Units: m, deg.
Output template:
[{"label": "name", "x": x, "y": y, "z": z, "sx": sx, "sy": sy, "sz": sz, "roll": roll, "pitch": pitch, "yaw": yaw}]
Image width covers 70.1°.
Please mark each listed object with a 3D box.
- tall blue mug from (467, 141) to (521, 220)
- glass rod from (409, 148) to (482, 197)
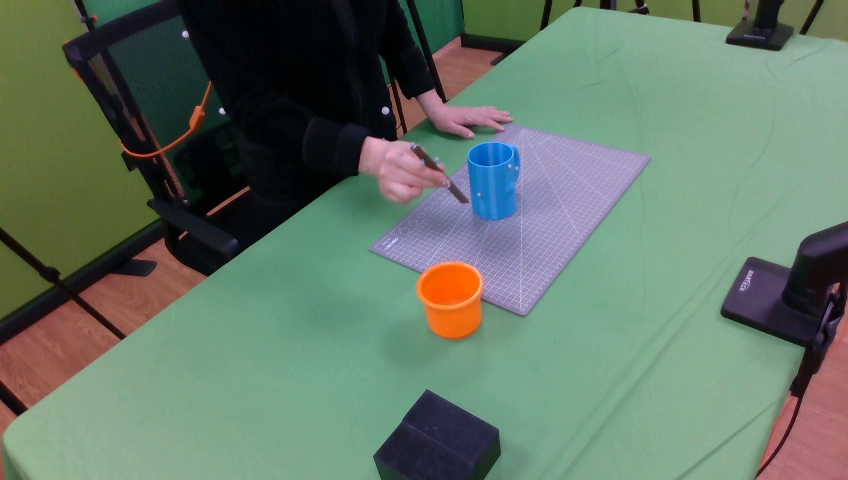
[{"label": "tall blue mug", "x": 0.119, "y": -0.109, "z": 1.020, "sx": 0.077, "sy": 0.108, "sz": 0.107, "roll": 2, "pitch": 41, "yaw": 15}, {"label": "glass rod", "x": 0.035, "y": -0.089, "z": 0.834, "sx": 0.008, "sy": 0.201, "sz": 0.008, "roll": -9, "pitch": 73, "yaw": 30}]
